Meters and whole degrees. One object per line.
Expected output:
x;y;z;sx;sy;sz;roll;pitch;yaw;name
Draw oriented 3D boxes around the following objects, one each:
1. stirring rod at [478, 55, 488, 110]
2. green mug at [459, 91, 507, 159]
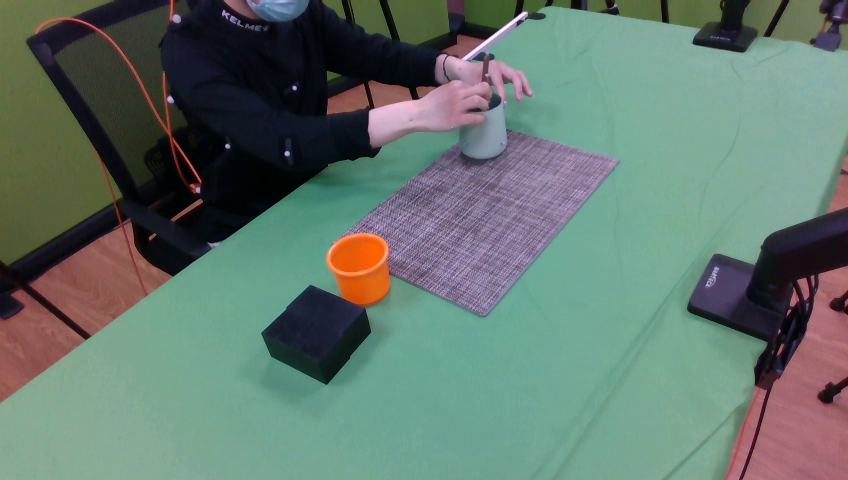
0.103;-0.245;1.092;0.006;0.176;0.014;20;37;27;stirring rod
0.117;-0.225;1.144;0.092;0.105;0.125;14;45;24;green mug
